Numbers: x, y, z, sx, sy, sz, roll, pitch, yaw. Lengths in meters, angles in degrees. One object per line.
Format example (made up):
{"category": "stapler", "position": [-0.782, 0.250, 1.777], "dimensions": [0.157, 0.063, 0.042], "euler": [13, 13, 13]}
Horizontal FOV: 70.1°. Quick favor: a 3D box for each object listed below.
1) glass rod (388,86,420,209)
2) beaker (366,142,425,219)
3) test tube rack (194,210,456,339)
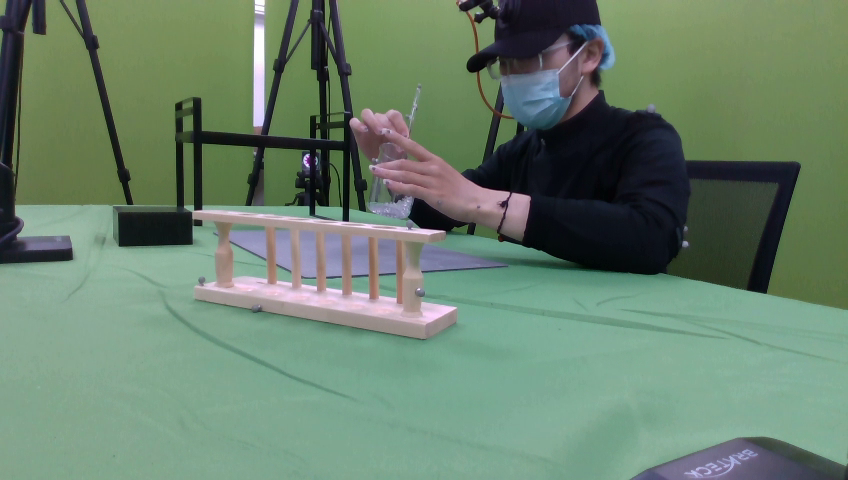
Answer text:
{"category": "glass rod", "position": [-0.031, -0.145, 0.947], "dimensions": [0.008, 0.199, 0.008], "euler": [13, -4, 1]}
{"category": "beaker", "position": [-0.044, -0.090, 0.925], "dimensions": [0.074, 0.100, 0.083], "euler": [18, -14, -22]}
{"category": "test tube rack", "position": [-0.093, 0.023, 0.546], "dimensions": [0.241, 0.085, 0.067], "euler": [6, 8, 25]}
